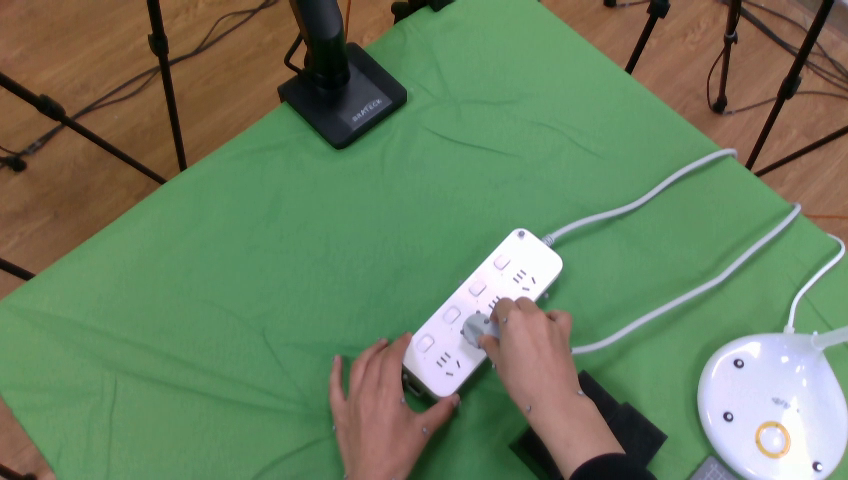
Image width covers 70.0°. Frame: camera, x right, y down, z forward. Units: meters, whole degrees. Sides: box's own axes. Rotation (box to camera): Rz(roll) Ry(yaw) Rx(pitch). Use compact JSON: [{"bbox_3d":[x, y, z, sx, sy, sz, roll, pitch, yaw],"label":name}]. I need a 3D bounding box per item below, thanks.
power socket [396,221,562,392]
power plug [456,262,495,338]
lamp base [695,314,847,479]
[{"bbox_3d":[0.062,0.068,0.659,0.072,0.033,0.226,42,72,11],"label":"power socket"},{"bbox_3d":[0.056,0.067,0.625,0.035,0.052,0.072,32,58,-16],"label":"power plug"},{"bbox_3d":[0.374,0.129,0.575,0.160,0.181,0.178,18,66,4],"label":"lamp base"}]
